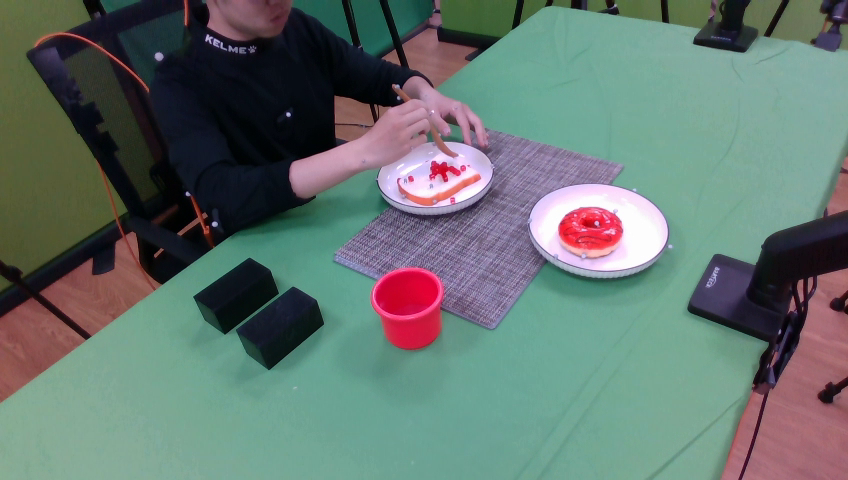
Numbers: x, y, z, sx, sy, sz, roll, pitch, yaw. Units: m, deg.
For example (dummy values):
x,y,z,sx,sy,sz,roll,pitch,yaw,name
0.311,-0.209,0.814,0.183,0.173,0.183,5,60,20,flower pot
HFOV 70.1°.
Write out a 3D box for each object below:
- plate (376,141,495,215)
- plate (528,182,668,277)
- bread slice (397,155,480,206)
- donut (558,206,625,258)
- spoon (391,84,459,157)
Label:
x,y,z,sx,sy,sz,roll,pitch,yaw,name
0.022,-0.106,1.073,0.209,0.038,0.208,-4,40,4,plate
0.264,-0.014,0.933,0.207,0.039,0.206,-3,42,3,plate
0.020,-0.106,1.077,0.132,0.019,0.104,-31,46,-29,bread slice
0.254,-0.015,0.917,0.099,0.048,0.098,-5,41,5,donut
0.004,-0.201,1.030,0.021,0.195,0.041,-47,42,-3,spoon
